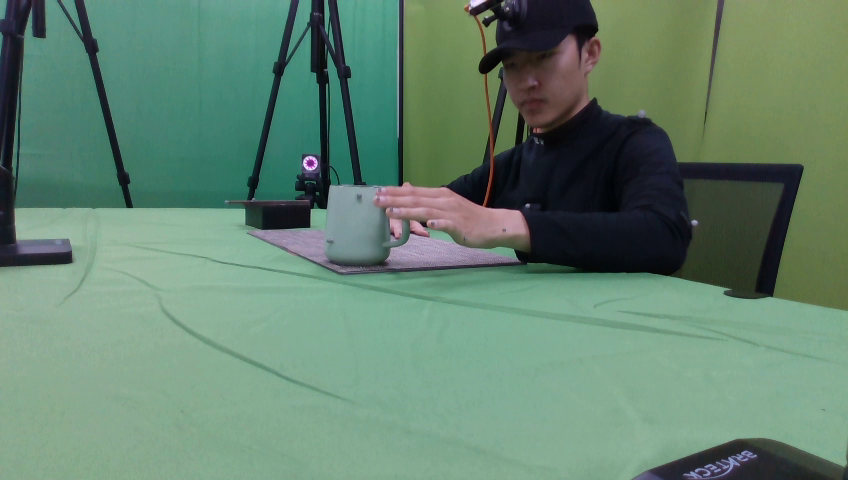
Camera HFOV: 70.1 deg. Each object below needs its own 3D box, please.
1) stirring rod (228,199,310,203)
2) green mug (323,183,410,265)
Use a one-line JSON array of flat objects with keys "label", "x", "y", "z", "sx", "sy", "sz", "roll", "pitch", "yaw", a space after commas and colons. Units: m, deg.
[{"label": "stirring rod", "x": -0.314, "y": -0.080, "z": 1.239, "sx": 0.177, "sy": 0.006, "sz": 0.014, "roll": -4, "pitch": 9, "yaw": -40}, {"label": "green mug", "x": -0.076, "y": -0.022, "z": 0.817, "sx": 0.125, "sy": 0.105, "sz": 0.093, "roll": 5, "pitch": 8, "yaw": 26}]
